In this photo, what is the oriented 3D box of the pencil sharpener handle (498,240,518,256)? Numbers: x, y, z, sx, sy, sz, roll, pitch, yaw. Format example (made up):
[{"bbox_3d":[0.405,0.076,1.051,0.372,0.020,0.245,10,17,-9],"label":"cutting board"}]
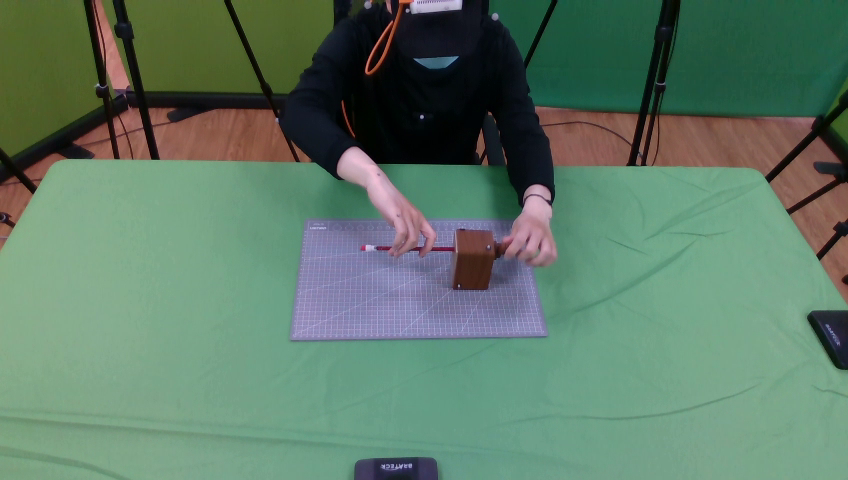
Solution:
[{"bbox_3d":[0.145,0.017,1.069,0.030,0.068,0.036,2,90,-2],"label":"pencil sharpener handle"}]

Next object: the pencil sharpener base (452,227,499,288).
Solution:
[{"bbox_3d":[0.092,0.034,1.103,0.077,0.107,0.061,2,46,-2],"label":"pencil sharpener base"}]

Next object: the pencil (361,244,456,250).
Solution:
[{"bbox_3d":[-0.016,0.013,1.081,0.194,0.012,0.012,0,47,-1],"label":"pencil"}]
